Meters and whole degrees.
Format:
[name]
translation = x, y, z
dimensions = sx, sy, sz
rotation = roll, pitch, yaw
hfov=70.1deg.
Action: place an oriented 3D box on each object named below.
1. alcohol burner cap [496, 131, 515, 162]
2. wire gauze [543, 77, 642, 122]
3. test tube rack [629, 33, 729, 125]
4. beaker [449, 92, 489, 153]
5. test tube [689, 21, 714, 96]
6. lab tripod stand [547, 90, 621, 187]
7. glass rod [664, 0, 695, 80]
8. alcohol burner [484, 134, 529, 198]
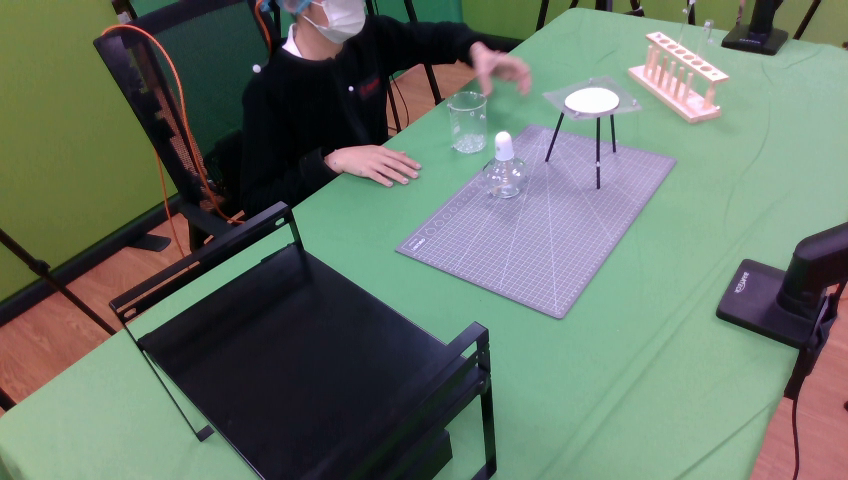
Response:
[alcohol burner cap]
translation = 0.135, -0.160, 1.019
dimensions = 0.034, 0.048, 0.033
rotation = -7, 38, 6
[wire gauze]
translation = 0.282, -0.236, 1.020
dimensions = 0.125, 0.011, 0.120
rotation = -15, 40, -6
[test tube rack]
translation = 0.516, -0.337, 1.248
dimensions = 0.067, 0.085, 0.240
rotation = -14, 41, -7
[beaker]
translation = 0.092, -0.228, 1.177
dimensions = 0.073, 0.101, 0.084
rotation = 15, 45, 24
[test tube]
translation = 0.542, -0.353, 1.184
dimensions = 0.017, 0.151, 0.017
rotation = -2, 40, 2
[lab tripod stand]
translation = 0.289, -0.184, 1.062
dimensions = 0.148, 0.132, 0.147
rotation = -6, 41, 6
[glass rod]
translation = 0.523, -0.415, 1.235
dimensions = 0.008, 0.200, 0.008
rotation = 1, 46, 0
[alcohol burner]
translation = 0.141, -0.133, 1.041
dimensions = 0.078, 0.119, 0.077
rotation = -5, 43, 5
